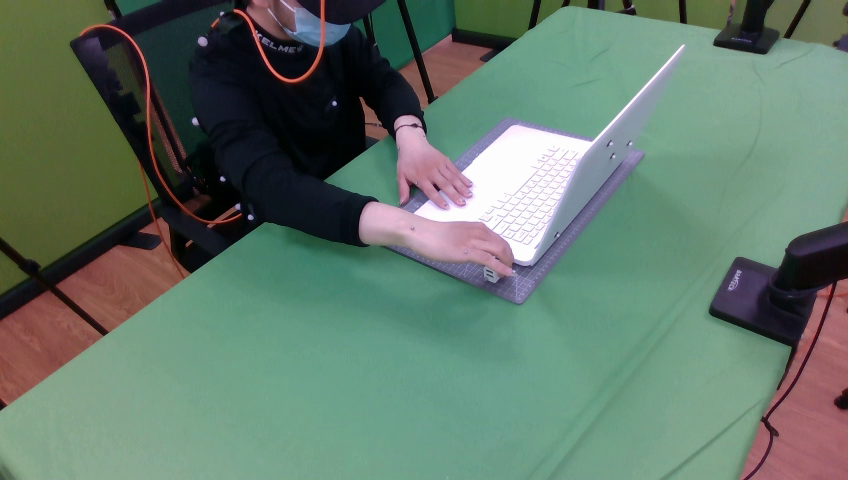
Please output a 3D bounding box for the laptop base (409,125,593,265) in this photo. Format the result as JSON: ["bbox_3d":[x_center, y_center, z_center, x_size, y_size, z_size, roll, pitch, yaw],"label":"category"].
[{"bbox_3d":[0.168,-0.093,1.055,0.233,0.023,0.355,19,47,33],"label":"laptop base"}]

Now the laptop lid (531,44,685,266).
[{"bbox_3d":[0.279,-0.129,0.906,0.013,0.242,0.357,34,52,17],"label":"laptop lid"}]

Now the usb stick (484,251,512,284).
[{"bbox_3d":[0.114,0.036,0.894,0.021,0.027,0.059,22,47,32],"label":"usb stick"}]
